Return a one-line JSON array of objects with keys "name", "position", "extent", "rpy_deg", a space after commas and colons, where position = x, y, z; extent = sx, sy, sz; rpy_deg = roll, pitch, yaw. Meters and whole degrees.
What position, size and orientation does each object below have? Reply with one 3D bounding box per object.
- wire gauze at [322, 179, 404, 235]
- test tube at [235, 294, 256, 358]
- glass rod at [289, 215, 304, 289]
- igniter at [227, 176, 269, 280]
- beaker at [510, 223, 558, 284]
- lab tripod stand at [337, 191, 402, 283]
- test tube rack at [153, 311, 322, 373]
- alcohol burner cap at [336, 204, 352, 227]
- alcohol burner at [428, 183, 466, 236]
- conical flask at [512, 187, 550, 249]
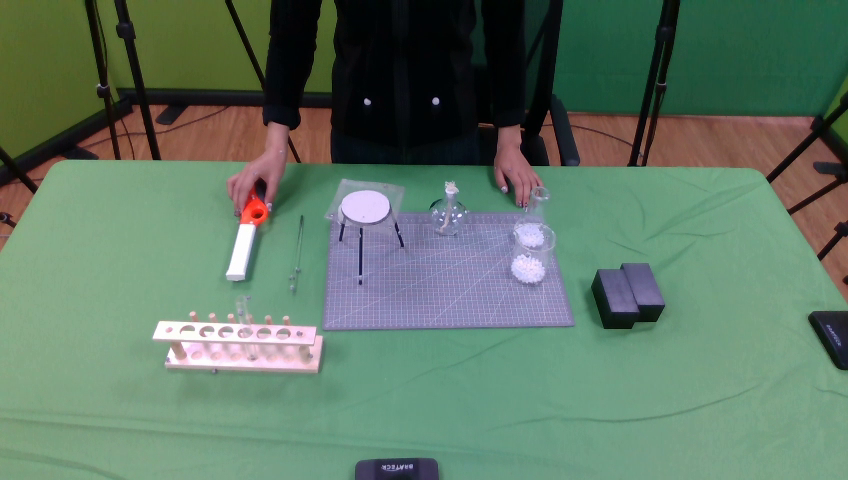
[{"name": "wire gauze", "position": [-0.106, -0.064, 1.078], "extent": [0.125, 0.011, 0.121], "rpy_deg": [11, 45, 5]}, {"name": "test tube", "position": [-0.274, 0.136, 0.933], "extent": [0.017, 0.151, 0.017], "rpy_deg": [4, 45, -4]}, {"name": "glass rod", "position": [-0.246, 0.019, 1.171], "extent": [0.008, 0.008, 0.198], "rpy_deg": [1, 43, -3]}, {"name": "igniter", "position": [-0.343, -0.033, 1.190], "extent": [0.057, 0.025, 0.274], "rpy_deg": [2, 47, -4]}, {"name": "beaker", "position": [0.199, 0.027, 1.132], "extent": [0.083, 0.101, 0.074], "rpy_deg": [27, 50, 21]}, {"name": "lab tripod stand", "position": [-0.106, -0.016, 1.125], "extent": [0.148, 0.132, 0.147], "rpy_deg": [3, 44, -2]}, {"name": "test tube rack", "position": [-0.293, 0.160, 0.978], "extent": [0.242, 0.085, 0.066], "rpy_deg": [3, 46, -2]}, {"name": "alcohol burner cap", "position": [-0.162, -0.053, 1.220], "extent": [0.034, 0.048, 0.033], "rpy_deg": [2, 47, -2]}, {"name": "alcohol burner", "position": [0.047, -0.066, 1.200], "extent": [0.078, 0.119, 0.077], "rpy_deg": [4, 45, -3]}, {"name": "conical flask", "position": [0.217, -0.048, 1.190], "extent": [0.075, 0.122, 0.075], "rpy_deg": [2, 46, -2]}]
